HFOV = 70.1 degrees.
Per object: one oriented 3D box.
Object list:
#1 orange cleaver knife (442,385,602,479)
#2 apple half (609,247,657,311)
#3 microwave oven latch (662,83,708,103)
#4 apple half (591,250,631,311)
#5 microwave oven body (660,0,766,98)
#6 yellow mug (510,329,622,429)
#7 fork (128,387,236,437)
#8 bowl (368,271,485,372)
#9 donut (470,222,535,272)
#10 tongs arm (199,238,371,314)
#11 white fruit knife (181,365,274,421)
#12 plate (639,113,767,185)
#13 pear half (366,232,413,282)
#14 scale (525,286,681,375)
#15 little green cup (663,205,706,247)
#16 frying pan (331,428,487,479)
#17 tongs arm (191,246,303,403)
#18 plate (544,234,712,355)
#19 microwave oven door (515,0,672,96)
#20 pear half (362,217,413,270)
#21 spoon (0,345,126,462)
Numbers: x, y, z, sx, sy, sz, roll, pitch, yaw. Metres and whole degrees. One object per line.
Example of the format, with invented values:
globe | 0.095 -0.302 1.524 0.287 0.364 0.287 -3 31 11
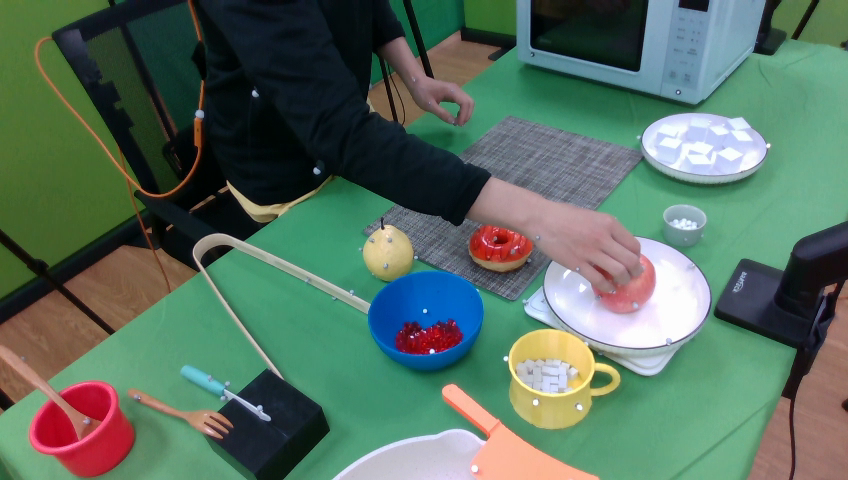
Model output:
orange cleaver knife | 0.086 0.219 0.612 0.209 0.012 0.077 28 49 35
apple half | 0.269 0.049 0.777 0.053 0.075 0.080 -10 38 -5
microwave oven latch | 0.518 -0.296 1.204 0.078 0.029 0.030 28 52 35
apple half | 0.231 0.057 0.771 0.033 0.081 0.080 -12 40 -5
microwave oven body | 0.472 -0.513 1.317 0.438 0.261 0.327 26 51 34
yellow mug | 0.168 0.164 0.721 0.130 0.064 0.099 0 40 8
fork | -0.305 0.207 0.744 0.206 0.019 0.028 3 40 36
bowl | 0.007 0.119 0.791 0.151 0.077 0.150 -5 40 4
donut | 0.119 0.009 0.923 0.099 0.048 0.098 -3 38 3
tongs arm | -0.209 0.063 0.924 0.381 0.026 0.051 22 51 32
white fruit knife | -0.245 0.188 0.747 0.205 0.027 0.016 9 41 41
plate | 0.489 -0.157 1.074 0.207 0.039 0.206 -4 40 4
pear half | -0.048 0.031 0.893 0.071 0.088 0.031 -16 40 -14
scale | 0.254 0.091 0.821 0.199 0.032 0.149 27 51 35
little green cup | 0.396 -0.020 0.926 0.061 0.039 0.061 -4 40 4
frying pan | -0.089 0.306 0.564 0.487 0.103 0.306 10 41 7
tongs arm | -0.268 0.110 0.881 0.028 0.028 0.384 -35 45 -19
plate | 0.262 0.072 0.792 0.209 0.038 0.208 -4 41 4
microwave oven door | 0.343 -0.454 1.259 0.353 0.245 0.039 26 51 33
pear half | -0.059 0.002 0.913 0.076 0.110 0.055 -14 40 -13
spoon | -0.434 0.192 0.720 0.194 0.021 0.042 47 53 -6
